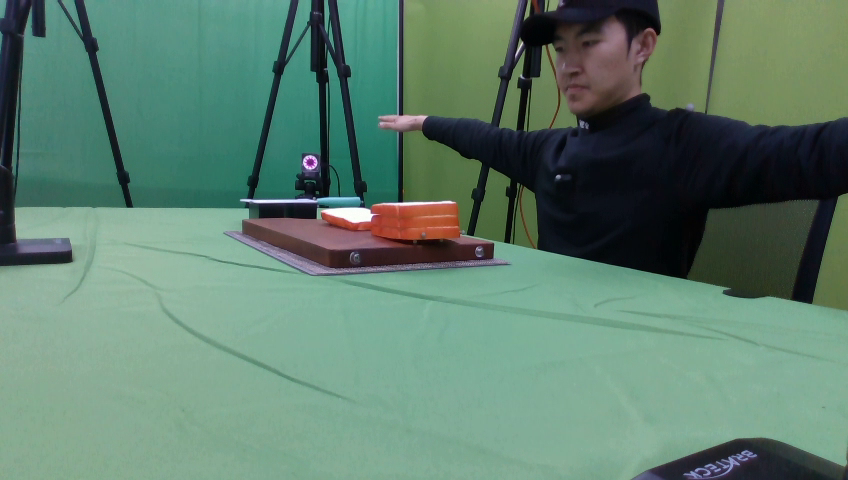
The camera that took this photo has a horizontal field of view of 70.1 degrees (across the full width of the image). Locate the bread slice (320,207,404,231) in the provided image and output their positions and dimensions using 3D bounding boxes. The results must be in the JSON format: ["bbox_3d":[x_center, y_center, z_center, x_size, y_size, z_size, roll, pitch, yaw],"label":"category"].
[{"bbox_3d":[-0.114,-0.037,1.042,0.105,0.019,0.131,-6,16,-40],"label":"bread slice"}]

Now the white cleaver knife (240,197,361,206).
[{"bbox_3d":[-0.254,-0.086,1.296,0.065,0.021,0.288,8,7,43],"label":"white cleaver knife"}]

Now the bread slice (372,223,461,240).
[{"bbox_3d":[-0.009,-0.013,0.888,0.107,0.018,0.134,-3,5,-21],"label":"bread slice"}]
